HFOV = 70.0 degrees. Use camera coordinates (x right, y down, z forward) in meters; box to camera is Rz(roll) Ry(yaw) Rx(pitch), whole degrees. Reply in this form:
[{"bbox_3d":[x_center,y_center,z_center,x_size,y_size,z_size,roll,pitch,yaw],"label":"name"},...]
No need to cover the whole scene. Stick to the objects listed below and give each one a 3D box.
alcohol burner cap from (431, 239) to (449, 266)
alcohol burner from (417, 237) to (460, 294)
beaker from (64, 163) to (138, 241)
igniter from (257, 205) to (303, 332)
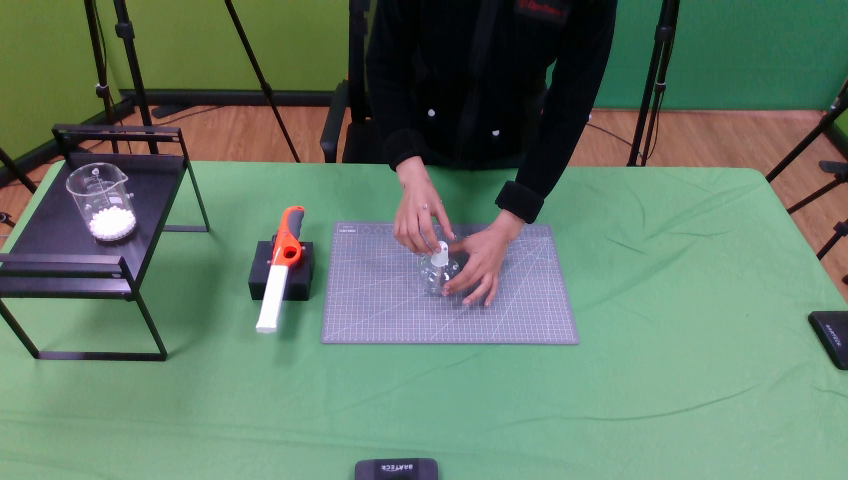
[{"bbox_3d":[0.029,0.019,1.068,0.034,0.048,0.033,1,46,-1],"label":"alcohol burner cap"},{"bbox_3d":[0.026,0.042,1.088,0.078,0.120,0.077,1,46,-1],"label":"alcohol burner"},{"bbox_3d":[-0.477,-0.055,0.910,0.084,0.101,0.073,-9,48,-13],"label":"beaker"},{"bbox_3d":[-0.252,0.040,1.070,0.057,0.025,0.275,3,50,-2],"label":"igniter"}]
